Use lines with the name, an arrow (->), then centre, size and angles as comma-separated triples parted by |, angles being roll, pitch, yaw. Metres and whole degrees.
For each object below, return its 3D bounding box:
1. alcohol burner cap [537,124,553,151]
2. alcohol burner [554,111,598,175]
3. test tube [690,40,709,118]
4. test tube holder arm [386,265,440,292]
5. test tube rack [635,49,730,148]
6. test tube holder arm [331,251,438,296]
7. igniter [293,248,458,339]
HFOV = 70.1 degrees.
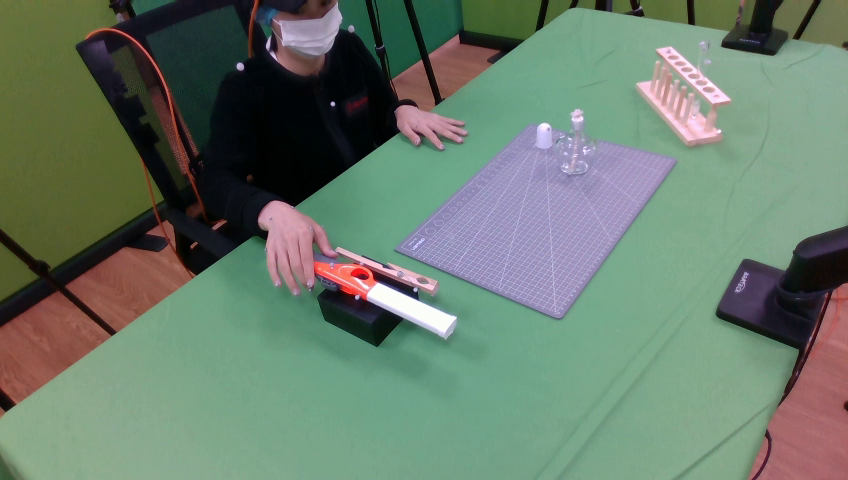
alcohol burner cap -> 0.232, -0.199, 1.158 | 0.034, 0.048, 0.033 | -5, 41, 5
alcohol burner -> 0.270, -0.175, 1.066 | 0.078, 0.119, 0.077 | -4, 42, 4
test tube -> 0.510, -0.295, 1.120 | 0.017, 0.151, 0.017 | -6, 39, 6
test tube holder arm -> -0.018, 0.055, 0.843 | 0.087, 0.015, 0.010 | 18, 46, 26
test tube rack -> 0.497, -0.283, 1.185 | 0.067, 0.085, 0.240 | -10, 40, -2
test tube holder arm -> -0.059, 0.046, 0.859 | 0.177, 0.015, 0.013 | 16, 46, 24
igniter -> -0.077, 0.068, 0.831 | 0.274, 0.025, 0.057 | 21, 46, 26
